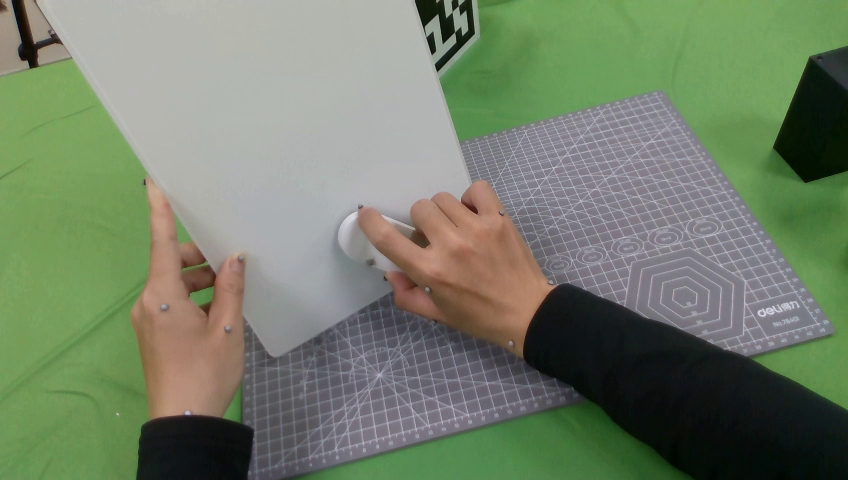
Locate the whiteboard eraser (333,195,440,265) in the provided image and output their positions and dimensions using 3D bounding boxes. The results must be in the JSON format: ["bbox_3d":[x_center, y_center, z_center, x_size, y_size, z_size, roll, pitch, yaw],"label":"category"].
[{"bbox_3d":[-0.029,-0.007,0.496,0.018,0.102,0.041,33,101,51],"label":"whiteboard eraser"}]

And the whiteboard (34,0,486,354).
[{"bbox_3d":[-0.110,-0.104,0.491,0.217,0.308,0.142,-30,35,-12],"label":"whiteboard"}]
